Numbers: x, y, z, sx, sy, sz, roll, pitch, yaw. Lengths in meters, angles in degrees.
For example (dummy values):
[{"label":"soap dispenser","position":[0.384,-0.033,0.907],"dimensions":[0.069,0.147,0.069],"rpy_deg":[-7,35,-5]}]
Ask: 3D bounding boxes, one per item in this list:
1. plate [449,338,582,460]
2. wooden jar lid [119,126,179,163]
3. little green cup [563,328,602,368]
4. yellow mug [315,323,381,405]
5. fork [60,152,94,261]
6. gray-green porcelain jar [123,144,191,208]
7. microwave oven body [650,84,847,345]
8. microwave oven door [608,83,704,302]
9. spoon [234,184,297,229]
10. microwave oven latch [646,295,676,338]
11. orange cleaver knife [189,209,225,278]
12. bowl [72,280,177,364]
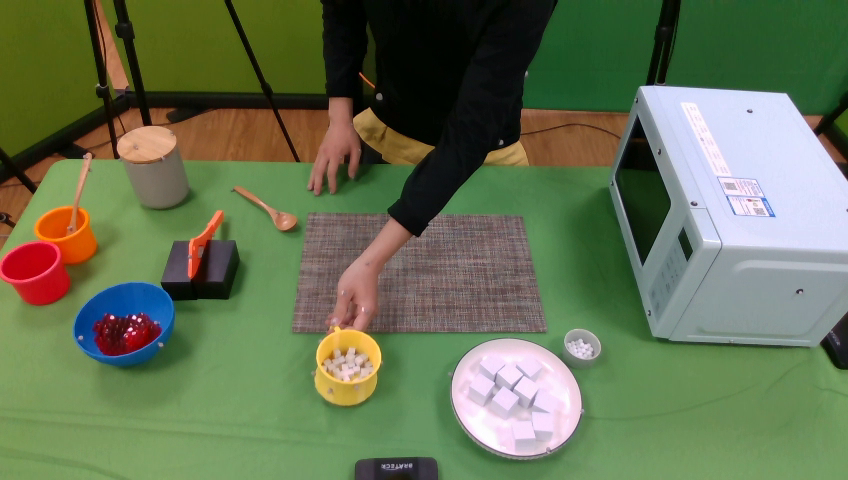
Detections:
[{"label":"plate","position":[0.141,0.251,0.956],"dimensions":[0.208,0.039,0.206],"rpy_deg":[2,46,-2]},{"label":"wooden jar lid","position":[-0.528,-0.181,1.167],"dimensions":[0.108,0.021,0.107],"rpy_deg":[3,47,-3]},{"label":"little green cup","position":[0.265,0.184,1.025],"dimensions":[0.061,0.039,0.061],"rpy_deg":[1,46,-1]},{"label":"yellow mug","position":[-0.126,0.187,0.959],"dimensions":[0.100,0.064,0.130],"rpy_deg":[-12,49,-23]},{"label":"fork","position":[-0.638,-0.063,1.119],"dimensions":[0.028,0.018,0.207],"rpy_deg":[12,90,6]},{"label":"gray-green porcelain jar","position":[-0.530,-0.137,1.213],"dimensions":[0.106,0.127,0.105],"rpy_deg":[2,46,-2]},{"label":"microwave oven body","position":[0.569,-0.054,1.116],"dimensions":[0.326,0.261,0.439],"rpy_deg":[2,46,-1]},{"label":"microwave oven door","position":[0.424,-0.096,1.138],"dimensions":[0.039,0.245,0.353],"rpy_deg":[2,47,-1]},{"label":"spoon","position":[-0.327,-0.073,1.239],"dimensions":[0.193,0.022,0.041],"rpy_deg":[34,70,25]},{"label":"microwave oven latch","position":[0.413,0.133,1.061],"dimensions":[0.030,0.029,0.078],"rpy_deg":[4,46,1]},{"label":"orange cleaver knife","position":[-0.400,0.002,1.122],"dimensions":[0.012,0.077,0.210],"rpy_deg":[4,23,-4]},{"label":"bowl","position":[-0.473,0.147,0.982],"dimensions":[0.151,0.077,0.150],"rpy_deg":[2,46,-2]}]
